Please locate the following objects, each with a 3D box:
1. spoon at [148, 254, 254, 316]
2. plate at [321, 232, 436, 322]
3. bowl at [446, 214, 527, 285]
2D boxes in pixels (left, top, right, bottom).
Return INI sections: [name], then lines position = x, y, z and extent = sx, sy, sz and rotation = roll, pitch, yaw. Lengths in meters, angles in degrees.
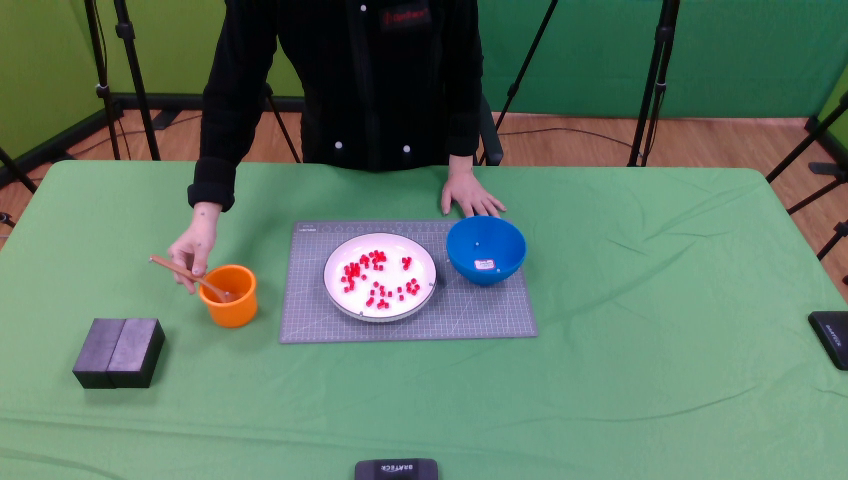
[spoon]
position = -0.368, 0.073, 1.011
extent = 0.021, 0.195, 0.041
rotation = -32, 35, 28
[plate]
position = -0.083, 0.070, 1.109
extent = 0.209, 0.038, 0.208
rotation = 3, 46, -3
[bowl]
position = 0.112, 0.031, 1.134
extent = 0.151, 0.077, 0.150
rotation = 2, 46, -2
